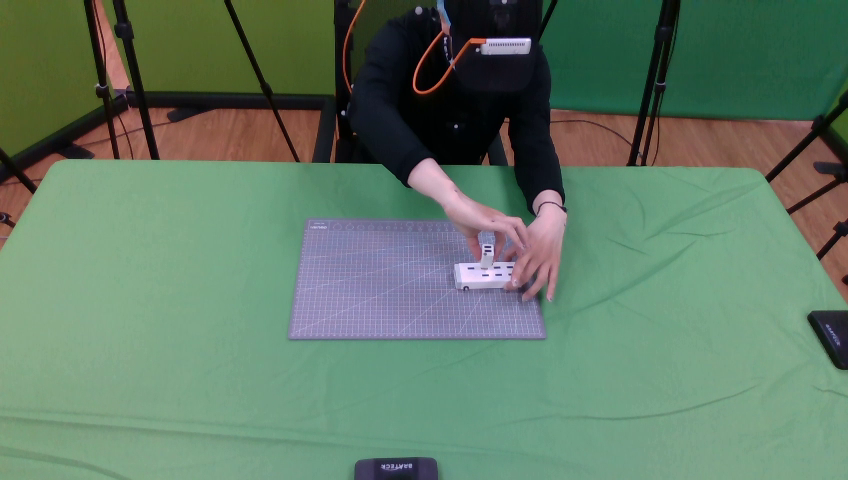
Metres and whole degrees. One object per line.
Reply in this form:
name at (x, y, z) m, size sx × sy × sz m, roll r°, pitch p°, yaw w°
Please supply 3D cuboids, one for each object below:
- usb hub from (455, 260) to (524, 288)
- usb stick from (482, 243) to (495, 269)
usb hub at (0.122, 0.064, 1.134) m, size 0.125 × 0.025 × 0.049 m, roll -2°, pitch 47°, yaw -5°
usb stick at (0.118, 0.031, 1.109) m, size 0.021 × 0.059 × 0.027 m, roll -1°, pitch 54°, yaw 1°
